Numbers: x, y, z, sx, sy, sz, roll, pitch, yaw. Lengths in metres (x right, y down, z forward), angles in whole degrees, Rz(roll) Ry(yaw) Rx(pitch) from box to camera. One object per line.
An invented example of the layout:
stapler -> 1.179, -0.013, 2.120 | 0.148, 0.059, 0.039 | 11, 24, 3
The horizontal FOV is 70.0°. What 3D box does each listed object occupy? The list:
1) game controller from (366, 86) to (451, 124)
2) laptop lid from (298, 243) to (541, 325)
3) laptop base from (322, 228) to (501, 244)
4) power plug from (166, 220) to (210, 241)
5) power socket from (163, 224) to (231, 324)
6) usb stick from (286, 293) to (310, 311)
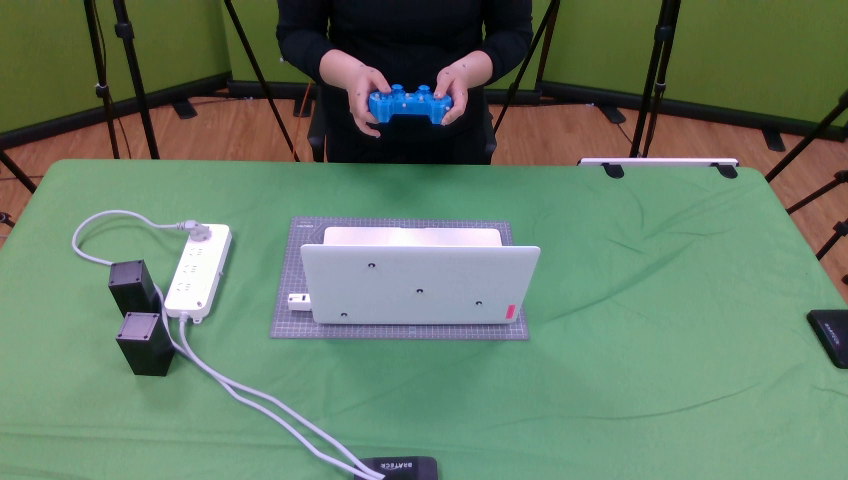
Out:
game controller -> -0.027, -0.243, 1.073 | 0.155, 0.052, 0.096 | 1, 33, -4
laptop lid -> -0.010, 0.076, 0.958 | 0.357, 0.243, 0.013 | 1, 53, -5
laptop base -> -0.020, 0.063, 1.136 | 0.355, 0.023, 0.234 | 0, 43, -4
power plug -> -0.440, -0.016, 1.144 | 0.072, 0.053, 0.035 | 8, 46, 9
power socket -> -0.411, 0.052, 1.107 | 0.072, 0.033, 0.225 | 3, 46, -3
usb stick -> -0.210, 0.109, 1.059 | 0.059, 0.027, 0.021 | 4, 44, -6
